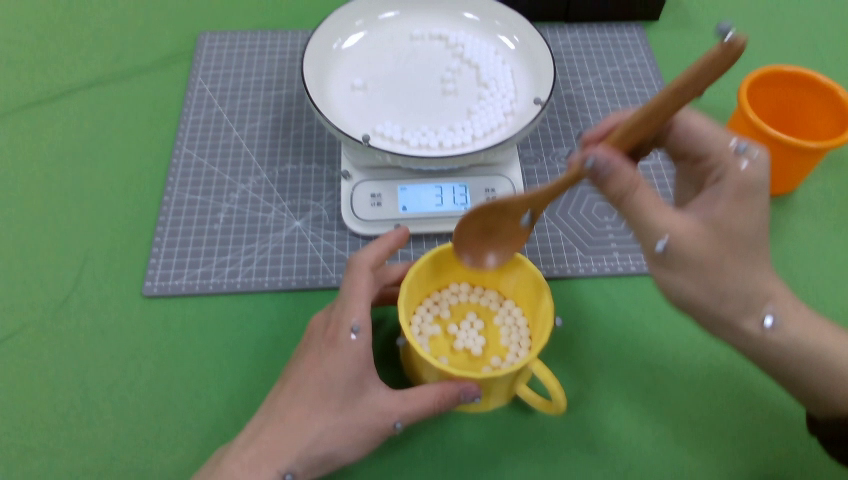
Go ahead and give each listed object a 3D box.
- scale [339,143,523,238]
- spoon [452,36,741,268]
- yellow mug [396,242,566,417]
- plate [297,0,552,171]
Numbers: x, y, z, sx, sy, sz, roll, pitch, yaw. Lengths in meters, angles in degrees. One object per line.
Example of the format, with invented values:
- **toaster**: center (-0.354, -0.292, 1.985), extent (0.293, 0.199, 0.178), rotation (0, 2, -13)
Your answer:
- **scale**: center (0.002, -0.094, 0.520), extent (0.149, 0.032, 0.199), rotation (-3, 58, -3)
- **spoon**: center (0.079, -0.035, 0.319), extent (0.042, 0.194, 0.021), rotation (40, 47, -10)
- **yellow mug**: center (0.043, 0.068, 0.403), extent (0.100, 0.064, 0.130), rotation (-40, 67, -21)
- **plate**: center (0.001, -0.136, 0.508), extent (0.209, 0.038, 0.207), rotation (1, 58, -2)
